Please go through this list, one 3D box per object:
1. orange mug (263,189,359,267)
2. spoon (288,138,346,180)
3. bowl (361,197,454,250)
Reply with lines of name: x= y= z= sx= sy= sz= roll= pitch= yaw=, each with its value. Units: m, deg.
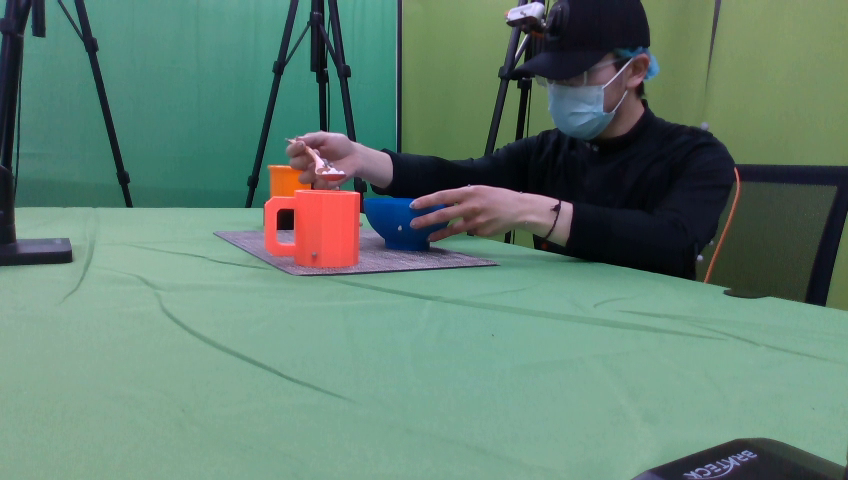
orange mug: x=-0.147 y=-0.019 z=0.794 sx=0.127 sy=0.100 sz=0.083 roll=4 pitch=6 yaw=-19
spoon: x=-0.167 y=-0.125 z=0.908 sx=0.042 sy=0.021 sz=0.192 roll=-6 pitch=30 yaw=-30
bowl: x=-0.027 y=-0.027 z=0.986 sx=0.151 sy=0.077 sz=0.151 roll=2 pitch=7 yaw=0
